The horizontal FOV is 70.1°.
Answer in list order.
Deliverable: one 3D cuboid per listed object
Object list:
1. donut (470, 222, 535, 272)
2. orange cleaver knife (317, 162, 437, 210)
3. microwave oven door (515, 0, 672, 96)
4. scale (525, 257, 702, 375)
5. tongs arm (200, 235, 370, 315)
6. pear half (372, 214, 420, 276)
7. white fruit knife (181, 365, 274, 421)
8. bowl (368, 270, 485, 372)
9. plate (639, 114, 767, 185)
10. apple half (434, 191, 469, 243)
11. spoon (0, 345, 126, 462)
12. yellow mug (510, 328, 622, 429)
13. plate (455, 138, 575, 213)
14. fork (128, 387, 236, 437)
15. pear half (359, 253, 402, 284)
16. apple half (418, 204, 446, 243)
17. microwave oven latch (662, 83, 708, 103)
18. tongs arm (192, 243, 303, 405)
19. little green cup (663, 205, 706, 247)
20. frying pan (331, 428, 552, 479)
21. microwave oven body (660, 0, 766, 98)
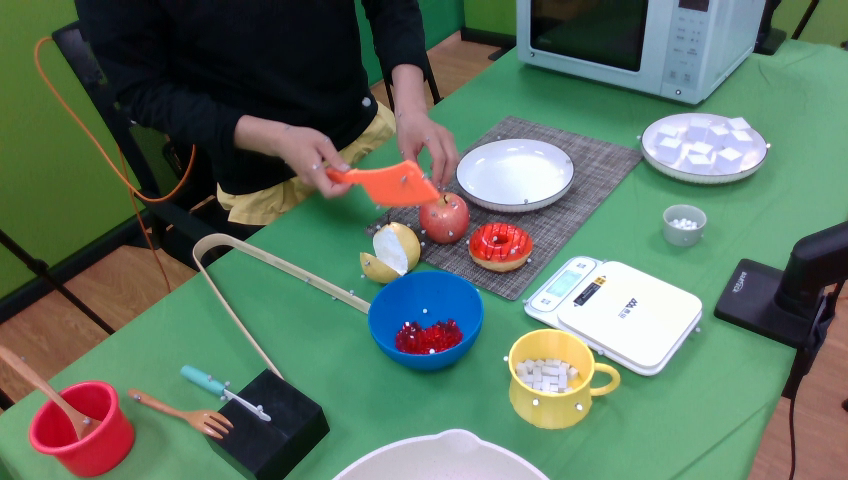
[{"bbox_3d":[0.119,0.009,0.923,0.099,0.048,0.098,-4,38,3],"label":"donut"},{"bbox_3d":[-0.069,-0.073,0.845,0.209,0.077,0.012,4,42,41],"label":"orange cleaver knife"},{"bbox_3d":[0.343,-0.455,1.259,0.353,0.245,0.039,26,51,33],"label":"microwave oven door"},{"bbox_3d":[0.254,0.091,0.821,0.199,0.032,0.149,28,51,35],"label":"scale"},{"bbox_3d":[-0.209,0.062,0.924,0.381,0.027,0.051,23,54,32],"label":"tongs arm"},{"bbox_3d":[-0.040,-0.003,0.916,0.076,0.110,0.056,21,48,25],"label":"pear half"},{"bbox_3d":[-0.245,0.187,0.747,0.205,0.027,0.016,9,42,41],"label":"white fruit knife"},{"bbox_3d":[0.007,0.118,0.791,0.151,0.077,0.150,-5,40,4],"label":"bowl"},{"bbox_3d":[0.489,-0.157,1.074,0.207,0.039,0.206,-4,40,4],"label":"plate"},{"bbox_3d":[0.045,-0.038,0.967,0.053,0.075,0.080,-14,37,-11],"label":"apple half"},{"bbox_3d":[-0.434,0.192,0.720,0.194,0.021,0.042,47,54,-7],"label":"spoon"},{"bbox_3d":[0.168,0.164,0.721,0.130,0.064,0.099,0,40,8],"label":"yellow mug"},{"bbox_3d":[0.159,-0.111,1.063,0.209,0.038,0.208,-4,40,4],"label":"plate"},{"bbox_3d":[-0.305,0.207,0.744,0.206,0.019,0.028,3,41,36],"label":"fork"},{"bbox_3d":[-0.070,0.047,0.895,0.070,0.088,0.031,17,80,25],"label":"pear half"},{"bbox_3d":[0.009,-0.028,0.959,0.033,0.081,0.080,-14,41,-11],"label":"apple half"},{"bbox_3d":[0.517,-0.296,1.204,0.078,0.029,0.030,28,52,35],"label":"microwave oven latch"},{"bbox_3d":[-0.268,0.110,0.884,0.028,0.028,0.384,-36,47,-17],"label":"tongs arm"},{"bbox_3d":[0.396,-0.020,0.926,0.061,0.039,0.061,-4,40,4],"label":"little green cup"},{"bbox_3d":[-0.089,0.306,0.564,0.487,0.103,0.306,10,41,7],"label":"frying pan"},{"bbox_3d":[0.472,-0.513,1.317,0.438,0.261,0.327,26,51,34],"label":"microwave oven body"}]
